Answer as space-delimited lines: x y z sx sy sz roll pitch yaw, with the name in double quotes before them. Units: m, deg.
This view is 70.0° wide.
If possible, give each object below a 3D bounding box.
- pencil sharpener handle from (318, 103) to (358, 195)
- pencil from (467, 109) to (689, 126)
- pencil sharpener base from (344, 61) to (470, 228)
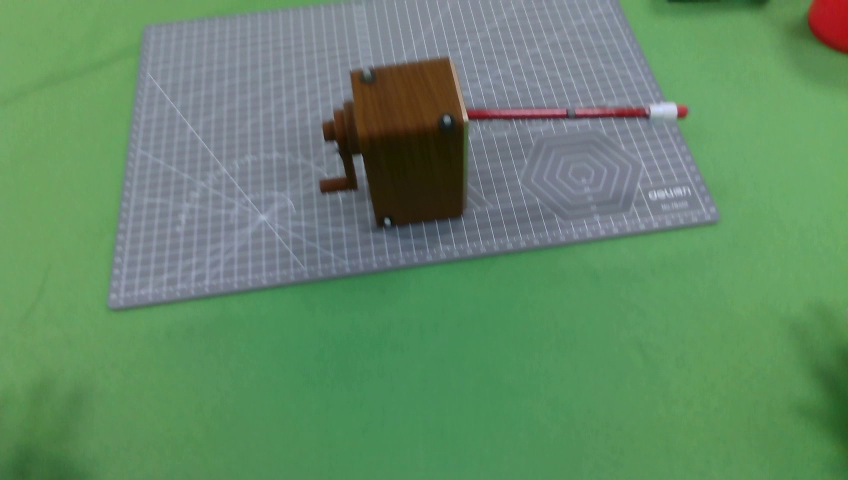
"pencil sharpener handle" -0.062 -0.058 0.411 0.031 0.068 0.035 -9 44 -3
"pencil" 0.090 -0.084 0.415 0.194 0.012 0.012 -1 58 -8
"pencil sharpener base" -0.011 -0.062 0.427 0.077 0.108 0.061 -8 59 -3
